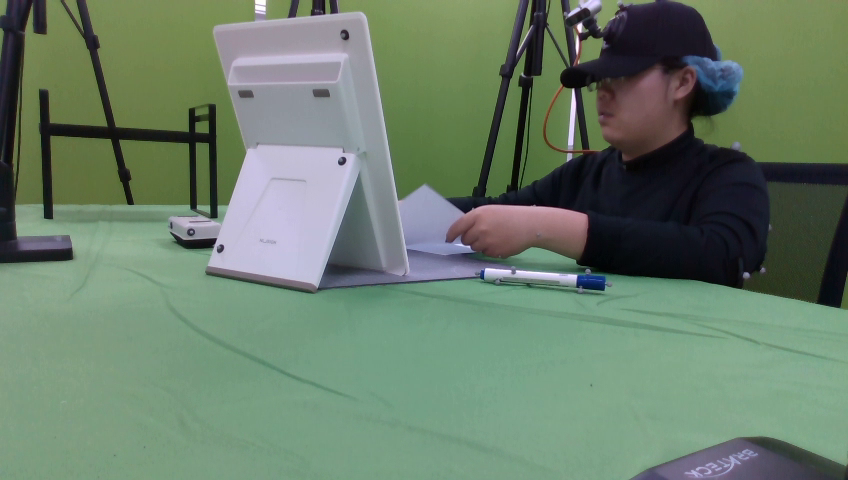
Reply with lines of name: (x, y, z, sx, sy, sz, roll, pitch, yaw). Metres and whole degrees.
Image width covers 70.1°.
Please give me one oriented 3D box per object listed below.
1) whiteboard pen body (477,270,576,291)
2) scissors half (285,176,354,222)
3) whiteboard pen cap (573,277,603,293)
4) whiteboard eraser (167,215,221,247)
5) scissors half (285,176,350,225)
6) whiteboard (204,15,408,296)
whiteboard pen body: (0.131, 0.048, 0.707, 0.140, 0.017, 0.017, 4, 8, 18)
scissors half: (-0.232, -0.092, 1.337, 0.175, 0.013, 0.040, 33, 14, -11)
whiteboard pen cap: (0.186, 0.051, 0.687, 0.033, 0.018, 0.018, 4, 8, 17)
whiteboard eraser: (-0.350, -0.014, 0.920, 0.056, 0.042, 0.112, 0, 7, -35)
scissors half: (-0.235, -0.087, 1.318, 0.175, 0.013, 0.040, 37, 19, 6)
whiteboard: (-0.166, -0.072, 0.669, 0.216, 0.305, 0.144, 8, 30, 30)
